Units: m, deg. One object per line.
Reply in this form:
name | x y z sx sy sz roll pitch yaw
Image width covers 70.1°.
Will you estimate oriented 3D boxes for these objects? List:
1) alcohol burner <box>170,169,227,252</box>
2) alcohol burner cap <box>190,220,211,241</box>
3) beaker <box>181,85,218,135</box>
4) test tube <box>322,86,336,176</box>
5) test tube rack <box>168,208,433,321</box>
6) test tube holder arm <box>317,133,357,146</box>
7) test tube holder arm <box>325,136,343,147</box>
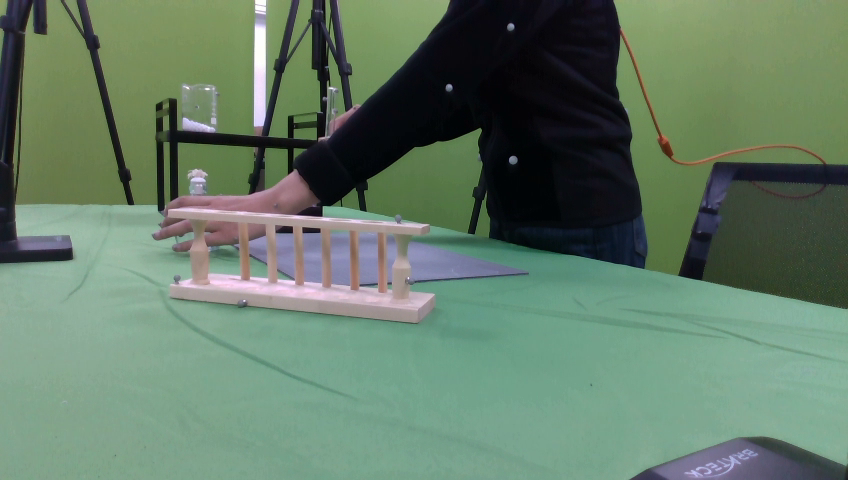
alcohol burner | -0.326 -0.042 0.875 0.078 0.119 0.078 1 7 0
alcohol burner cap | -0.365 -0.023 0.988 0.034 0.048 0.034 2 7 0
beaker | -0.479 -0.276 1.291 0.074 0.100 0.084 2 8 -1
test tube | -0.162 -0.183 1.024 0.017 0.150 0.017 5 13 -1
test tube rack | -0.116 0.018 0.574 0.242 0.085 0.067 4 8 14
test tube holder arm | -0.154 -0.183 1.093 0.013 0.015 0.178 15 15 8
test tube holder arm | -0.156 -0.172 1.050 0.010 0.015 0.088 13 15 1
